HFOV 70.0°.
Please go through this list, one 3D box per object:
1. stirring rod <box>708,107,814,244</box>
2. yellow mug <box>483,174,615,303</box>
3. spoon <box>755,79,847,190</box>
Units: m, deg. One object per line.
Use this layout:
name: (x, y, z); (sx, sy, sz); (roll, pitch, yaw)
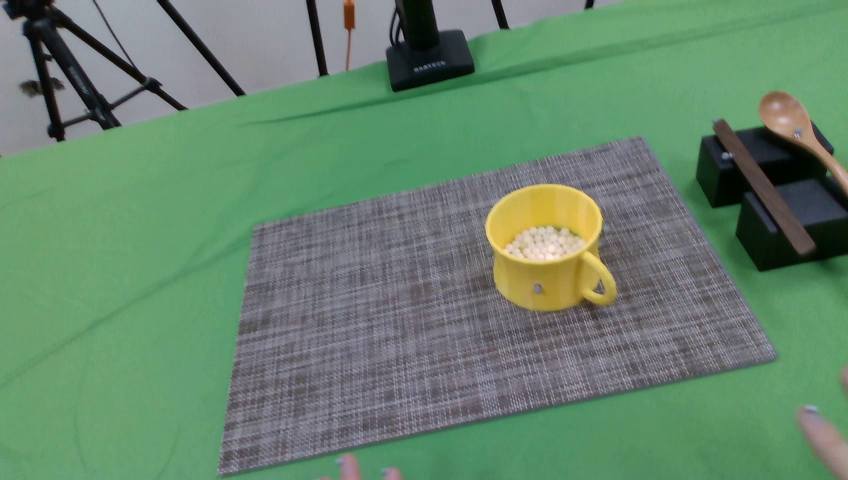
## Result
stirring rod: (0.284, -0.062, 0.520); (0.014, 0.006, 0.174); (-42, 36, 31)
yellow mug: (0.116, 0.005, 0.535); (0.100, 0.064, 0.129); (-36, 49, -18)
spoon: (0.339, -0.075, 0.514); (0.041, 0.022, 0.191); (-13, 48, 4)
